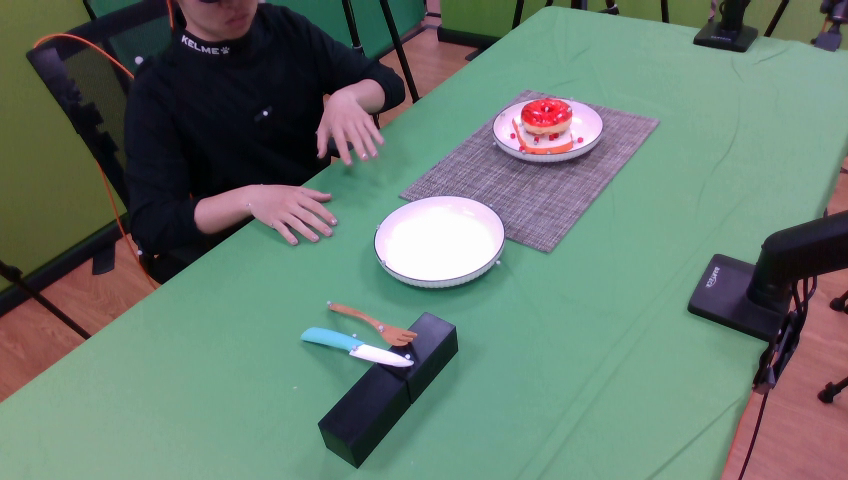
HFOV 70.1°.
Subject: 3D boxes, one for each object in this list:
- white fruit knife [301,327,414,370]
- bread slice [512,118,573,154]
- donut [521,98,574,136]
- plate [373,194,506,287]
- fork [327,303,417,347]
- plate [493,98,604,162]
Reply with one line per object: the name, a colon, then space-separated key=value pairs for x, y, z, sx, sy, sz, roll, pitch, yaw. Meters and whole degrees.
white fruit knife: x=-0.088 y=0.140 z=0.781 sx=0.205 sy=0.016 sz=0.027 roll=7 pitch=42 yaw=42
bread slice: x=0.232 y=-0.204 z=1.160 sx=0.105 sy=0.019 sz=0.131 roll=-7 pitch=39 yaw=1
donut: x=0.232 y=-0.233 z=1.135 sx=0.099 sy=0.048 sz=0.098 roll=-4 pitch=41 yaw=4
plate: x=0.025 y=0.003 z=0.951 sx=0.207 sy=0.039 sz=0.206 roll=-4 pitch=41 yaw=4
fork: x=-0.077 y=0.110 z=0.811 sx=0.028 sy=0.019 sz=0.205 roll=-41 pitch=33 yaw=-26
plate: x=0.237 y=-0.206 z=1.158 sx=0.209 sy=0.038 sz=0.208 roll=-4 pitch=40 yaw=4
